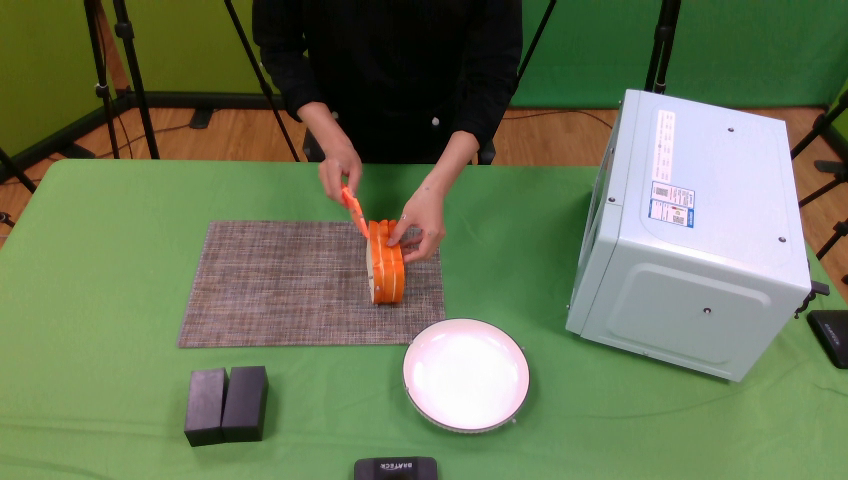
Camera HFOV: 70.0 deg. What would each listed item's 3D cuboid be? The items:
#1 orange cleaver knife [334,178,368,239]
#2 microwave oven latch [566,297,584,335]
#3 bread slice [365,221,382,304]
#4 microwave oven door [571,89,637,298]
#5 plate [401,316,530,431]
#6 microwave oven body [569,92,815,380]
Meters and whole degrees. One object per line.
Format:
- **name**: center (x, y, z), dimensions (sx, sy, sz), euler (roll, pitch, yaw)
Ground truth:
- **orange cleaver knife**: center (-0.126, -0.057, 1.042), dimensions (0.012, 0.077, 0.210), euler (-20, 24, -11)
- **microwave oven latch**: center (0.268, 0.127, 1.059), dimensions (0.030, 0.029, 0.079), euler (16, 46, 12)
- **bread slice**: center (-0.091, 0.045, 1.083), dimensions (0.018, 0.107, 0.133), euler (-5, 46, -8)
- **microwave oven door**: center (0.343, -0.091, 1.133), dimensions (0.039, 0.245, 0.354), euler (15, 47, 10)
- **plate**: center (0.066, 0.217, 0.982), dimensions (0.208, 0.039, 0.206), euler (2, 46, -2)
- **microwave oven body**: center (0.468, -0.021, 1.082), dimensions (0.325, 0.261, 0.440), euler (15, 46, 11)
